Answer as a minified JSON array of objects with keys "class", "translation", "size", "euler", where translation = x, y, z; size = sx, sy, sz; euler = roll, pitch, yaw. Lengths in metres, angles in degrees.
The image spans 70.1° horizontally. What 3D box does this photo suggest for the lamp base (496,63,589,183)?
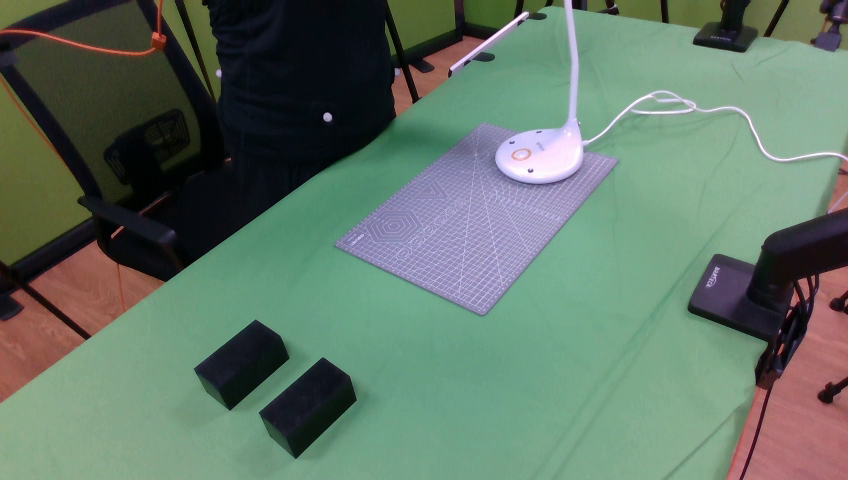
[{"class":"lamp base","translation":[0.216,-0.217,1.067],"size":[0.180,0.181,0.159],"euler":[-19,42,-18]}]
